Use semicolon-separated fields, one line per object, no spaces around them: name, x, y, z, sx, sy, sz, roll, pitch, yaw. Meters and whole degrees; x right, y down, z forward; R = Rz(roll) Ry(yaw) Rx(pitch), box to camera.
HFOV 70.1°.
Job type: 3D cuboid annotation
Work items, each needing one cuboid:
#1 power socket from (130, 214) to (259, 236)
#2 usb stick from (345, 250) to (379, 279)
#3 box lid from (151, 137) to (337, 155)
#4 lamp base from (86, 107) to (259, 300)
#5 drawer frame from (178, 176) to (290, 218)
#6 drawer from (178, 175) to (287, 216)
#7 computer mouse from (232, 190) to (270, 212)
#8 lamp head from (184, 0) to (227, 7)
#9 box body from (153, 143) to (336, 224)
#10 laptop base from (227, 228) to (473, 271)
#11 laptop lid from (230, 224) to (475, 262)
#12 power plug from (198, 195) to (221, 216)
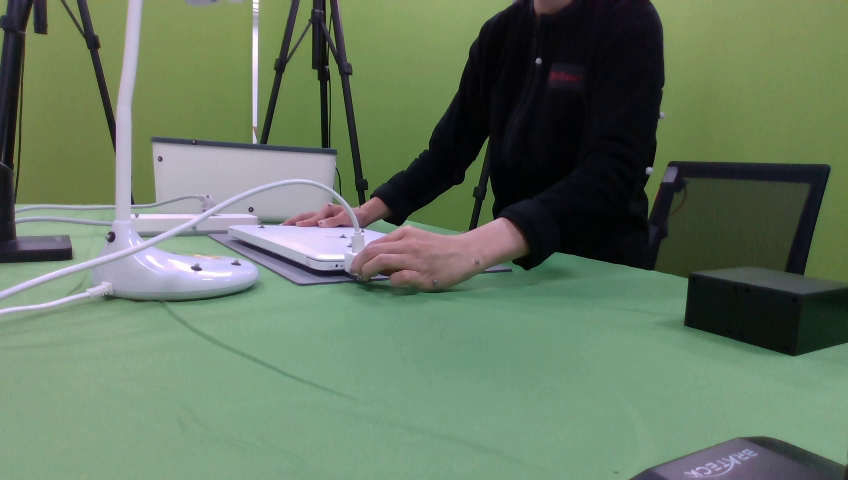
power socket;-0.397;-0.028;1.048;0.228;0.032;0.072;-3;7;-35
usb stick;-0.074;0.026;0.687;0.021;0.027;0.059;-9;10;-33
box lid;-0.379;-0.203;1.334;0.372;0.015;0.262;2;7;-9
lamp base;-0.254;-0.039;0.603;0.160;0.180;0.179;5;10;18
drawer frame;-0.409;-0.099;1.340;0.214;0.082;0.201;-4;7;-10
drawer;-0.414;-0.104;1.342;0.212;0.073;0.194;5;6;-11
computer mouse;-0.382;-0.086;1.343;0.063;0.041;0.117;10;10;-4
lamp head;-0.229;-0.320;0.627;0.112;0.112;0.123;6;-36;26
box body;-0.380;-0.130;1.344;0.365;0.160;0.253;1;7;-9
laptop base;-0.122;0.012;0.889;0.237;0.023;0.352;2;6;-35
laptop lid;-0.119;0.000;0.888;0.243;0.013;0.355;1;7;-33
power plug;-0.386;-0.055;1.088;0.035;0.052;0.072;-1;6;-24
